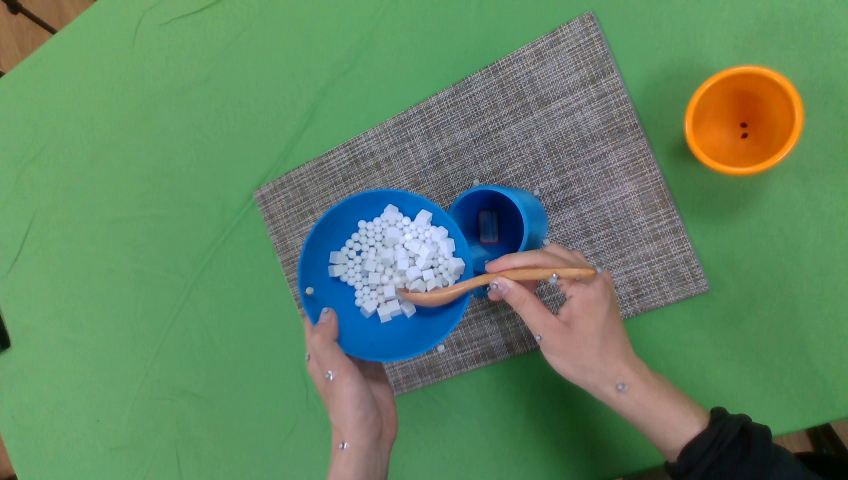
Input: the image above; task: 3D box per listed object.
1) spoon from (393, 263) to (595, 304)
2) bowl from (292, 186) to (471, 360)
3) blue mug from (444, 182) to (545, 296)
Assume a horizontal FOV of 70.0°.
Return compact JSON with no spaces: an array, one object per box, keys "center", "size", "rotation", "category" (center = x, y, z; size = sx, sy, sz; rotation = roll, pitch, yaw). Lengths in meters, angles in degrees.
[{"center":[0.047,0.033,0.487],"size":[0.193,0.042,0.021],"rotation":[-16,69,42],"category":"spoon"},{"center":[-0.037,0.034,0.547],"size":[0.151,0.077,0.150],"rotation":[1,79,-4],"category":"bowl"},{"center":[0.068,0.000,0.609],"size":[0.082,0.106,0.117],"rotation":[17,100,18],"category":"blue mug"}]
